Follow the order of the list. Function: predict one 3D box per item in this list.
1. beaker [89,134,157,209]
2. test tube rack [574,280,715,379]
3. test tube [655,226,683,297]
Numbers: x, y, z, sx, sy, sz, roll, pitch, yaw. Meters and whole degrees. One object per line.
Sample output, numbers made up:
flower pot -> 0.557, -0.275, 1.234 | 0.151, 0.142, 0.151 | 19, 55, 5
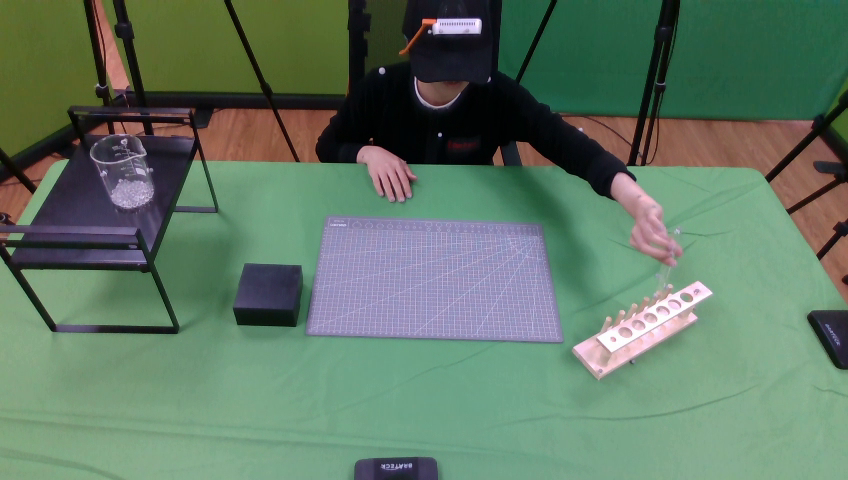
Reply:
beaker -> -0.470, -0.105, 0.960 | 0.084, 0.101, 0.073 | 4, 46, 0
test tube rack -> 0.378, 0.140, 1.038 | 0.242, 0.085, 0.066 | -23, 51, -23
test tube -> 0.400, 0.037, 0.991 | 0.017, 0.151, 0.017 | -2, 41, 2
